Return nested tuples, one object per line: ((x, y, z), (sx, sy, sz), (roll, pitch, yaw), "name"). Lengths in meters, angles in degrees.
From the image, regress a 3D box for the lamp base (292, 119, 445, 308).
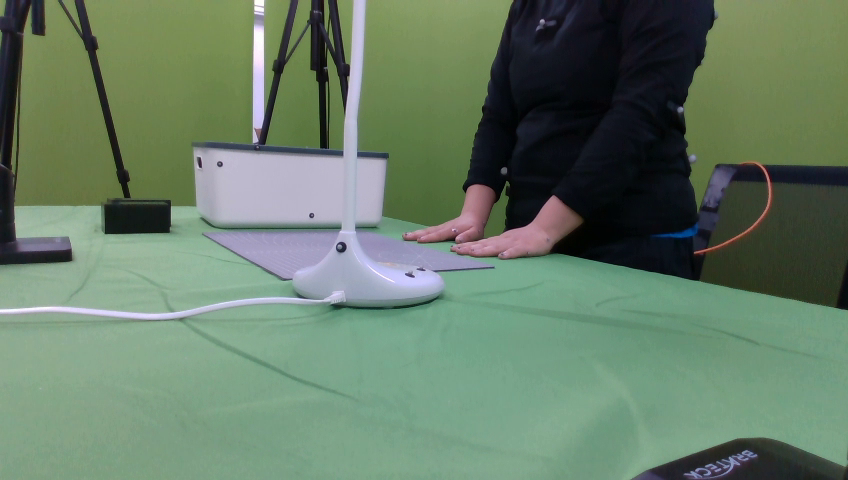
((-0.056, -0.030, 0.616), (0.160, 0.180, 0.179), (4, 10, 8), "lamp base")

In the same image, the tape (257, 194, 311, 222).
((-0.301, -0.070, 1.297), (0.117, 0.052, 0.117), (3, 7, 0), "tape")

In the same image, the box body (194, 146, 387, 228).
((-0.288, -0.118, 1.291), (0.366, 0.160, 0.253), (-1, 8, -28), "box body")

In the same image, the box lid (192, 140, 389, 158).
((-0.287, -0.190, 1.281), (0.373, 0.015, 0.262), (0, 8, -28), "box lid")
